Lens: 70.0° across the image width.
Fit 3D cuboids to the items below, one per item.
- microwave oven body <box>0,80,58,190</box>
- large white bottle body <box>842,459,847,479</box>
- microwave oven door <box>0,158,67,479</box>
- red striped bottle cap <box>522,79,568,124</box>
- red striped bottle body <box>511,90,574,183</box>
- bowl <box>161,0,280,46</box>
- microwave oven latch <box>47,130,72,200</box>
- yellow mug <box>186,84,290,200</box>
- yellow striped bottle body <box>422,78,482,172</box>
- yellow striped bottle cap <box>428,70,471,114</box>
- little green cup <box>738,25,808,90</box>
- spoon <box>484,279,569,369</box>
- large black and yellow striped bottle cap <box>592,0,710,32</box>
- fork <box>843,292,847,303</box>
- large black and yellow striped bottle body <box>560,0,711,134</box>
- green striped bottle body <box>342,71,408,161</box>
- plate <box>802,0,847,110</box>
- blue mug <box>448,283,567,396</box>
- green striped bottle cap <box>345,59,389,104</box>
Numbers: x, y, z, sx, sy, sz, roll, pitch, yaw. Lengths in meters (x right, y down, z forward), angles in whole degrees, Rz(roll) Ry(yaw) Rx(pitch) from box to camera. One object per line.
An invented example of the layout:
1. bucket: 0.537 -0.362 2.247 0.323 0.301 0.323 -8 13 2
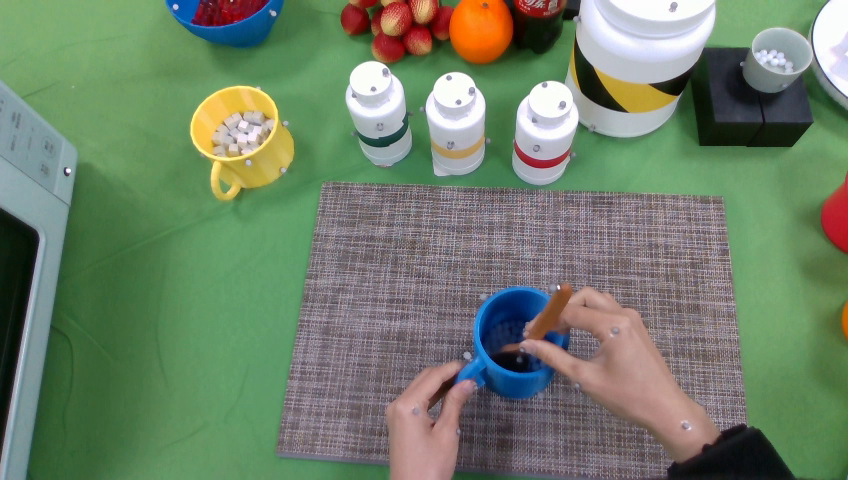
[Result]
1. microwave oven body: -0.570 0.054 0.548 0.326 0.262 0.438 -6 68 1
2. large white bottle body: 0.431 0.199 0.457 0.130 0.186 0.129 -2 67 4
3. microwave oven door: -0.422 0.076 0.523 0.039 0.245 0.353 -6 67 2
4. red striped bottle cap: 0.120 -0.137 0.598 0.044 0.018 0.044 0 66 0
5. red striped bottle body: 0.125 -0.116 0.646 0.063 0.120 0.062 -3 66 6
6. bowl: -0.247 -0.304 0.775 0.151 0.077 0.150 -1 67 4
7. microwave oven latch: -0.430 -0.086 0.700 0.030 0.030 0.078 -5 68 2
8. yellow mug: -0.217 -0.107 0.698 0.100 0.064 0.130 12 69 9
9. yellow striped bottle body: 0.031 -0.130 0.659 0.063 0.121 0.062 -2 66 5
10. yellow striped bottle cap: 0.026 -0.149 0.611 0.044 0.019 0.044 0 64 0
11. little green cup: 0.370 -0.193 0.648 0.061 0.039 0.061 0 65 1
12. spoon: 0.085 0.078 0.505 0.042 0.195 0.021 12 63 -4
13. large black and yellow striped bottle cap: 0.213 -0.245 0.567 0.115 0.019 0.114 -2 66 4
14. fork: 0.466 0.086 0.521 0.028 0.019 0.205 -34 25 -9
15. large black and yellow striped bottle body: 0.220 -0.214 0.645 0.131 0.185 0.130 -2 67 4
16. green striped bottle body: -0.054 -0.143 0.671 0.063 0.120 0.062 -1 67 4
17. plate: 0.542 -0.214 0.700 0.209 0.038 0.207 -1 68 4
18. blue mug: 0.071 0.104 0.563 0.116 0.106 0.081 -33 68 -9
19. green striped bottle cap: -0.059 -0.163 0.623 0.044 0.020 0.044 -2 66 4
